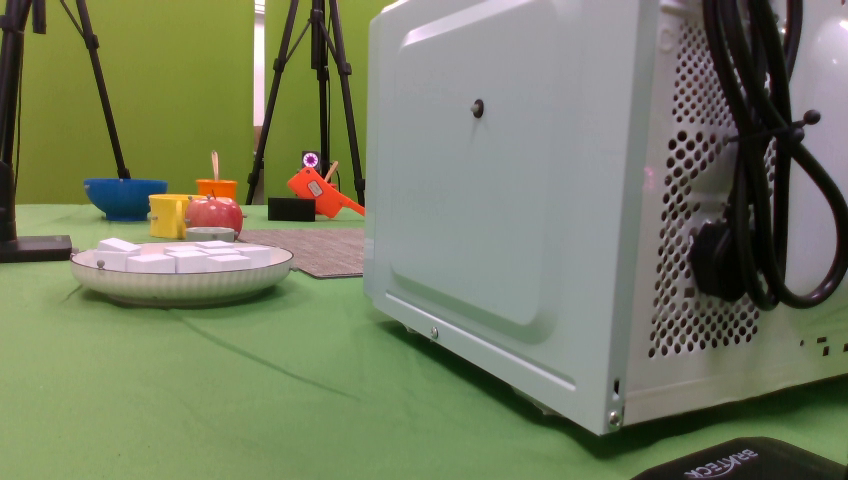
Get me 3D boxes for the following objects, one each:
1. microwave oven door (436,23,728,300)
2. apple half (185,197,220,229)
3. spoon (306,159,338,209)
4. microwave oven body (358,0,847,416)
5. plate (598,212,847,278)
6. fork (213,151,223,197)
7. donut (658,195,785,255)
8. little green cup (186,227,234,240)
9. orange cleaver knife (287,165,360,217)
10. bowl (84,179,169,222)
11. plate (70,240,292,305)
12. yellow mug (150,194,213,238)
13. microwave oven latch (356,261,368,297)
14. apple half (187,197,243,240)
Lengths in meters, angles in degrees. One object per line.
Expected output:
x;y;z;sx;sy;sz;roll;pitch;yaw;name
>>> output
0.180;-0.072;0.621;0.358;0.243;0.039;-2;9;-29;microwave oven door
-0.338;-0.031;0.927;0.032;0.081;0.081;12;12;31;apple half
-0.257;-0.147;1.567;0.041;0.022;0.193;1;51;20;spoon
0.211;-0.047;0.475;0.444;0.260;0.324;-1;7;-28;microwave oven body
0.255;0.001;0.519;0.209;0.038;0.209;2;7;0;plate
-0.493;-0.143;1.442;0.028;0.018;0.206;-3;52;-18;fork
0.252;-0.012;0.517;0.099;0.048;0.099;4;8;0;donut
-0.284;0.005;0.805;0.061;0.038;0.061;2;8;0;little green cup
-0.211;-0.093;1.382;0.212;0.077;0.012;33;1;-15;orange cleaver knife
-0.584;-0.078;1.194;0.151;0.077;0.151;3;8;0;bowl
-0.242;0.031;0.618;0.208;0.039;0.207;2;8;0;plate
-0.401;-0.040;1.003;0.100;0.064;0.130;-1;9;-20;yellow mug
-0.020;0.033;0.531;0.079;0.029;0.030;-1;7;-27;microwave oven latch
-0.305;-0.026;0.907;0.053;0.074;0.081;12;8;31;apple half
